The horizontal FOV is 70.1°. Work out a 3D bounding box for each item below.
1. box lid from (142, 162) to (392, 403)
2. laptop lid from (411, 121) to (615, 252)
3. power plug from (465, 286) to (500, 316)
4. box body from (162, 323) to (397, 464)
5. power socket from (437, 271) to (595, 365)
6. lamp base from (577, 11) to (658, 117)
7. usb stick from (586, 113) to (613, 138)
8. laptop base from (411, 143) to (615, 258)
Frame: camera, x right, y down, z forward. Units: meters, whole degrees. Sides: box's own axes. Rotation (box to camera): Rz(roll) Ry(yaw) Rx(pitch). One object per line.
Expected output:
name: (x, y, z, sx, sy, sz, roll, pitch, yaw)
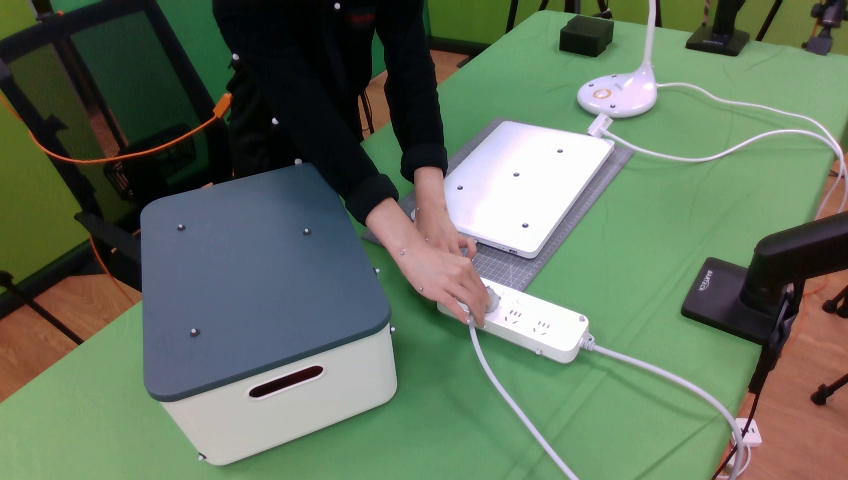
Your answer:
box lid: (-0.212, 0.025, 0.752, 0.264, 0.015, 0.368, -17, 41, -13)
laptop lid: (0.164, -0.112, 1.068, 0.240, 0.013, 0.357, 19, 46, 31)
power plug: (0.072, 0.090, 0.812, 0.073, 0.053, 0.035, -31, 44, -31)
box body: (-0.205, 0.080, 0.802, 0.255, 0.161, 0.361, -18, 41, -13)
power socket: (0.118, 0.102, 0.829, 0.225, 0.033, 0.072, 20, 48, 29)
lamp base: (0.407, -0.365, 1.223, 0.180, 0.181, 0.159, -20, 42, -18)
usb stick: (0.329, -0.210, 1.149, 0.022, 0.059, 0.027, 29, 19, -26)
laptop base: (0.167, -0.102, 1.074, 0.234, 0.023, 0.355, 16, 45, 30)
